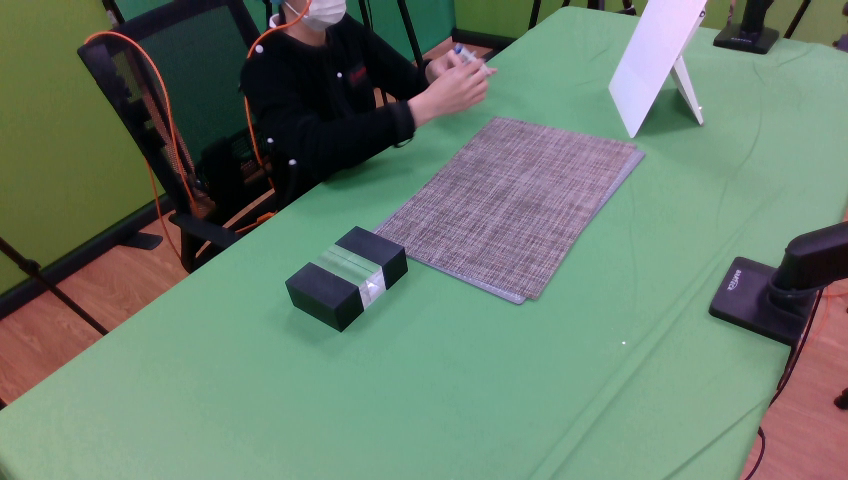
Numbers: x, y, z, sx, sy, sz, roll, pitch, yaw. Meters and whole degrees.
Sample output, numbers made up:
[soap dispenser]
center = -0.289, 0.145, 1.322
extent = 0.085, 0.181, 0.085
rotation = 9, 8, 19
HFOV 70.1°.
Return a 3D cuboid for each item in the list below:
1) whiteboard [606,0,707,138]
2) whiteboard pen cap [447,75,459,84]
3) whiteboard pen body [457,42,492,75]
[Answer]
[whiteboard]
center = 0.496, -0.359, 1.147
extent = 0.144, 0.305, 0.216
rotation = 11, 40, -7
[whiteboard pen cap]
center = 0.059, -0.325, 1.224
extent = 0.018, 0.018, 0.033
rotation = 11, 21, 20
[whiteboard pen body]
center = 0.097, -0.333, 1.120
extent = 0.017, 0.017, 0.142
rotation = 22, 4, 30
